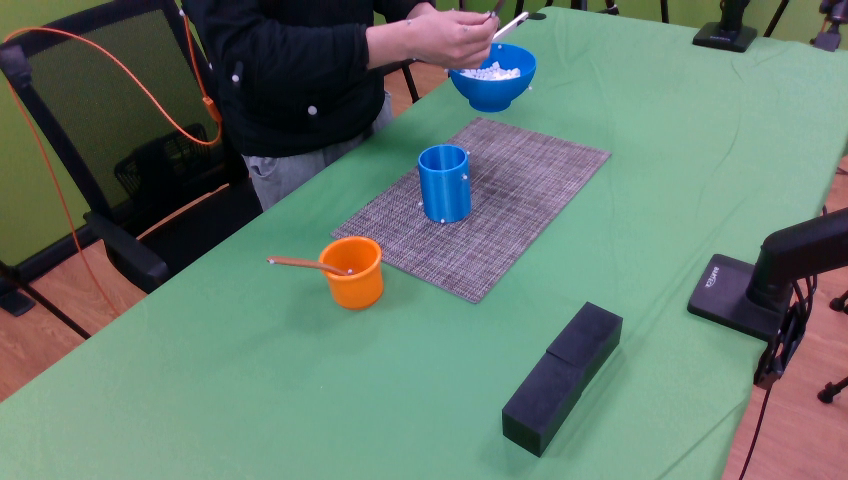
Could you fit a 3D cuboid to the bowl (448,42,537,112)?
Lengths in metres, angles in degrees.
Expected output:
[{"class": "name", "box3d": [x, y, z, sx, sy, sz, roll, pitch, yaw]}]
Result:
[{"class": "bowl", "box3d": [0.116, -0.272, 1.038, 0.151, 0.077, 0.150, -1, 41, 1]}]

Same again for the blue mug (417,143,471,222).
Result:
[{"class": "blue mug", "box3d": [0.031, -0.104, 1.014, 0.082, 0.106, 0.115, -14, 41, -7]}]

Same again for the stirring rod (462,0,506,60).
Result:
[{"class": "stirring rod", "box3d": [0.093, -0.323, 0.915, 0.014, 0.175, 0.006, -37, 88, -23]}]

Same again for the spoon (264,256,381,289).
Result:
[{"class": "spoon", "box3d": [-0.136, 0.041, 0.842, 0.021, 0.195, 0.041, -56, 46, 13]}]
